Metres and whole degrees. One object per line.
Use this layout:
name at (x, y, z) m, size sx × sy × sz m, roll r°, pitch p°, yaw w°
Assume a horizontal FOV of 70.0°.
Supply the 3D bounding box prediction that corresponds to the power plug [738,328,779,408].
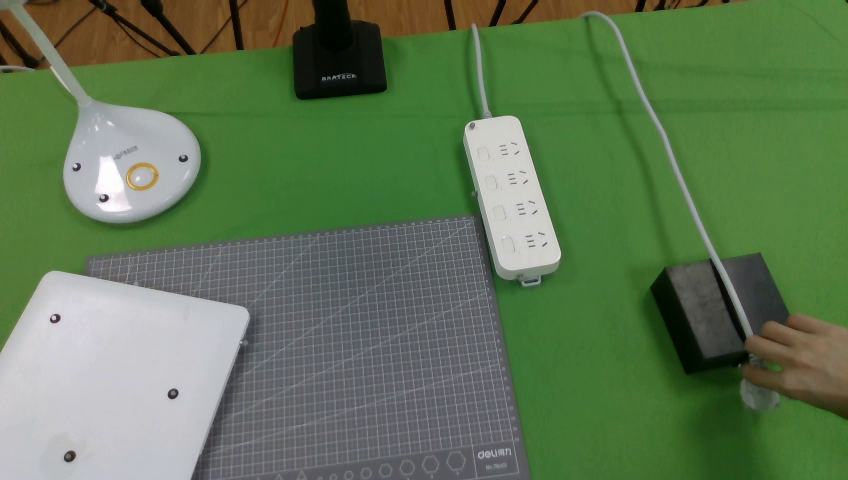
power plug at (0.328, 0.127, 0.591) m, size 0.035 × 0.053 × 0.072 m, roll 7°, pitch 78°, yaw 18°

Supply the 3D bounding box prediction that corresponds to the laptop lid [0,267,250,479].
laptop lid at (-0.330, 0.200, 0.570) m, size 0.241 × 0.013 × 0.354 m, roll 12°, pitch 63°, yaw 5°

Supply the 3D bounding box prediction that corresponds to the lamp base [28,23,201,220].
lamp base at (-0.362, -0.137, 0.669) m, size 0.178 × 0.182 × 0.160 m, roll 38°, pitch 68°, yaw 22°

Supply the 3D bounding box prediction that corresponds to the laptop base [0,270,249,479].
laptop base at (-0.332, 0.206, 0.581) m, size 0.235 × 0.023 × 0.352 m, roll 11°, pitch 63°, yaw 3°

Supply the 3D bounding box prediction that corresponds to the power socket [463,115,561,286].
power socket at (0.099, -0.055, 0.706) m, size 0.072 × 0.033 × 0.224 m, roll -8°, pitch 62°, yaw -5°
